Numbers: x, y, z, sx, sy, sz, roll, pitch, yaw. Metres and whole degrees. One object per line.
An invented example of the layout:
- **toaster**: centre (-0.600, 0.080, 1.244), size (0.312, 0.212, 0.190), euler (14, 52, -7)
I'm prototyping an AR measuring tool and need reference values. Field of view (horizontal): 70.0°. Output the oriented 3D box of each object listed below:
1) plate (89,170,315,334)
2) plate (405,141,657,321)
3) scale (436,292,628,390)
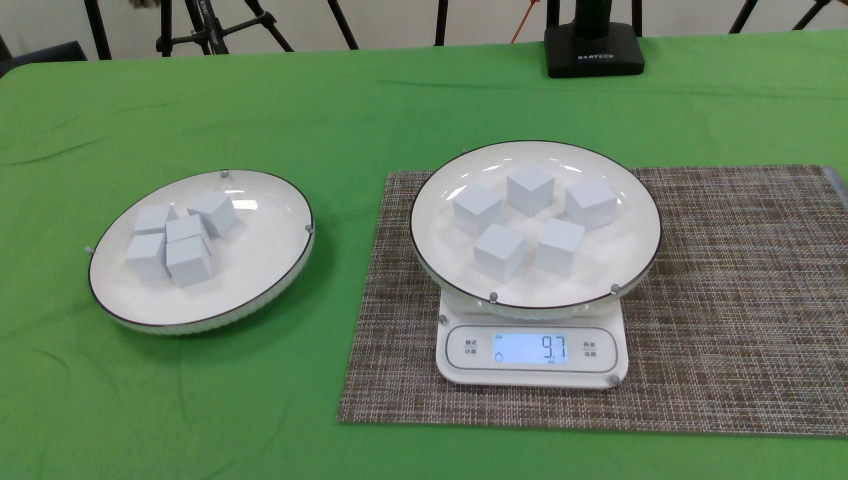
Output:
- **plate**: centre (-0.206, 0.011, 0.583), size (0.209, 0.038, 0.207), euler (-3, 45, 3)
- **plate**: centre (0.089, -0.009, 0.520), size (0.207, 0.039, 0.205), euler (-3, 45, 3)
- **scale**: centre (0.090, 0.035, 0.523), size (0.148, 0.032, 0.199), euler (0, 46, 8)
